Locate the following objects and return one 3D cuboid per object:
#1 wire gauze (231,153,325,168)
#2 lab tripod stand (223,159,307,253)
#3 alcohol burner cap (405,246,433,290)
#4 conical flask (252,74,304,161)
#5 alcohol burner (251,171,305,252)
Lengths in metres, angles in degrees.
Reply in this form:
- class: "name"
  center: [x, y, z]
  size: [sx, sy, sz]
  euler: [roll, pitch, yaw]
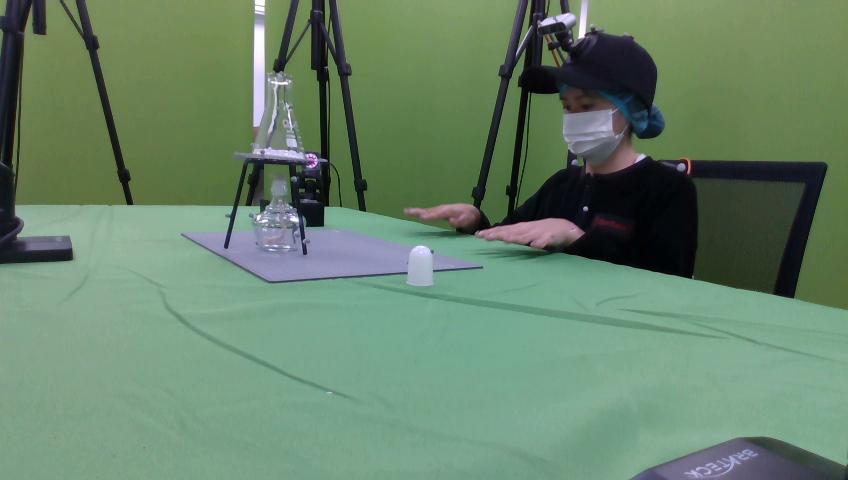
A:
- class: "wire gauze"
  center: [-0.215, -0.117, 0.882]
  size: [0.125, 0.011, 0.121]
  euler: [3, 7, -19]
- class: "lab tripod stand"
  center: [-0.220, -0.053, 0.896]
  size: [0.148, 0.131, 0.148]
  euler: [1, 6, 0]
- class: "alcohol burner cap"
  center: [-0.005, 0.031, 0.698]
  size: [0.034, 0.048, 0.034]
  euler: [3, 8, 0]
- class: "conical flask"
  center: [-0.211, -0.177, 0.879]
  size: [0.075, 0.122, 0.075]
  euler: [3, 6, 0]
- class: "alcohol burner"
  center: [-0.214, -0.042, 0.888]
  size: [0.078, 0.119, 0.078]
  euler: [2, 9, 0]
